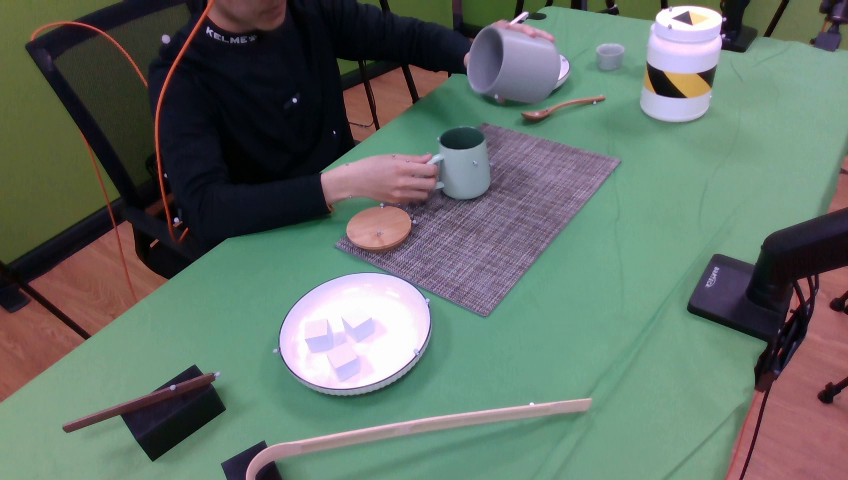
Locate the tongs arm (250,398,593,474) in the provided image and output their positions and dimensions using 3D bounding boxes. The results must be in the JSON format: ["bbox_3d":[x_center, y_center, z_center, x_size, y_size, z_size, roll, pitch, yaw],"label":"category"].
[{"bbox_3d":[0.008,0.212,0.675,0.389,0.028,0.028,-5,46,-11],"label":"tongs arm"}]

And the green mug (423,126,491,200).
[{"bbox_3d":[0.054,-0.126,1.039,0.126,0.105,0.091,-25,44,-19],"label":"green mug"}]

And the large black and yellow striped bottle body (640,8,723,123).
[{"bbox_3d":[0.493,-0.334,1.161,0.131,0.185,0.130,-4,41,4],"label":"large black and yellow striped bottle body"}]

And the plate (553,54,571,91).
[{"bbox_3d":[0.223,-0.371,1.357,0.209,0.038,0.208,-4,41,4],"label":"plate"}]

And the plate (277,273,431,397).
[{"bbox_3d":[-0.091,0.129,0.821,0.207,0.039,0.206,-4,40,4],"label":"plate"}]

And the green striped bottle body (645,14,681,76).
[{"bbox_3d":[0.520,-0.424,1.312,0.063,0.120,0.063,-4,41,4],"label":"green striped bottle body"}]

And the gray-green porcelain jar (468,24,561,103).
[{"bbox_3d":[0.152,-0.285,0.993,0.127,0.106,0.105,5,32,-32],"label":"gray-green porcelain jar"}]

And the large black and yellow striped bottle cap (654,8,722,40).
[{"bbox_3d":[0.483,-0.397,1.108,0.115,0.019,0.114,-3,41,3],"label":"large black and yellow striped bottle cap"}]

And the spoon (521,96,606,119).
[{"bbox_3d":[0.291,-0.277,1.249,0.194,0.022,0.041,-17,25,-11],"label":"spoon"}]

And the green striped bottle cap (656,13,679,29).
[{"bbox_3d":[0.515,-0.463,1.278,0.044,0.020,0.044,-6,42,6],"label":"green striped bottle cap"}]

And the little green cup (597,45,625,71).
[{"bbox_3d":[0.423,-0.413,1.375,0.061,0.039,0.061,-3,41,3],"label":"little green cup"}]

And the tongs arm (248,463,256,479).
[{"bbox_3d":[0.012,0.262,0.614,0.385,0.026,0.050,3,42,-2],"label":"tongs arm"}]

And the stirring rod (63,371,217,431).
[{"bbox_3d":[-0.337,0.192,0.723,0.177,0.014,0.005,-18,43,-12],"label":"stirring rod"}]

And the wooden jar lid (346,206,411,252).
[{"bbox_3d":[-0.074,-0.017,0.996,0.108,0.021,0.108,-3,39,3],"label":"wooden jar lid"}]
